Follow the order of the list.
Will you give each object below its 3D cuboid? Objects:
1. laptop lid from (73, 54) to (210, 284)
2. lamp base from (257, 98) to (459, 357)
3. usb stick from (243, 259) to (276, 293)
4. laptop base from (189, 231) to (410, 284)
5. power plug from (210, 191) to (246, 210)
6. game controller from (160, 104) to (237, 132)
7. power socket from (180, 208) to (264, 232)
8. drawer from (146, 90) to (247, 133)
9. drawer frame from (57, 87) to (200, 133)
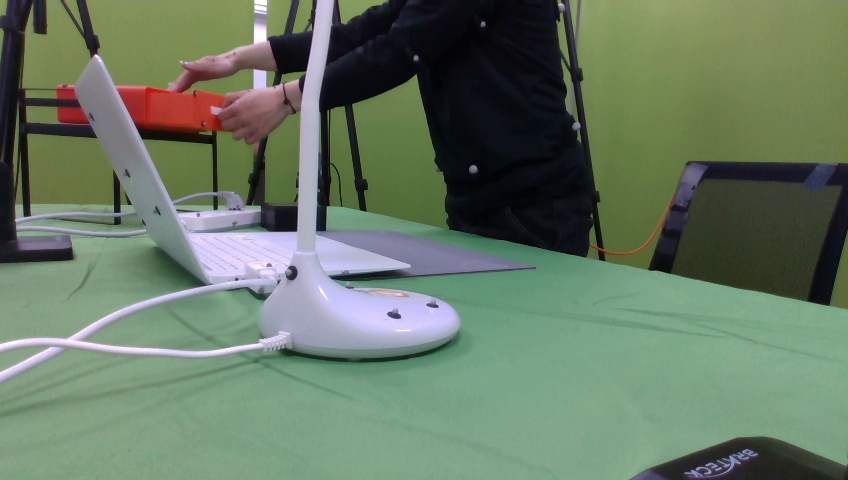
[{"bbox_3d":[-0.341,-0.079,0.704,0.013,0.242,0.355,-30,23,-26],"label":"laptop lid"},{"bbox_3d":[-0.055,-0.014,0.463,0.160,0.180,0.180,6,11,27],"label":"lamp base"},{"bbox_3d":[-0.166,0.035,0.604,0.021,0.027,0.059,-8,8,-28],"label":"usb stick"},{"bbox_3d":[-0.204,0.019,0.807,0.237,0.023,0.352,0,7,-33],"label":"laptop base"},{"bbox_3d":[-0.387,-0.071,1.205,0.072,0.052,0.035,5,9,27],"label":"power plug"},{"bbox_3d":[-0.460,-0.248,1.232,0.097,0.051,0.155,2,7,15],"label":"game controller"},{"bbox_3d":[-0.381,-0.038,1.128,0.072,0.032,0.227,5,8,16],"label":"power socket"},{"bbox_3d":[-0.504,-0.261,1.241,0.211,0.073,0.195,3,8,13],"label":"drawer"},{"bbox_3d":[-0.596,-0.269,1.261,0.213,0.082,0.202,4,8,14],"label":"drawer frame"}]
